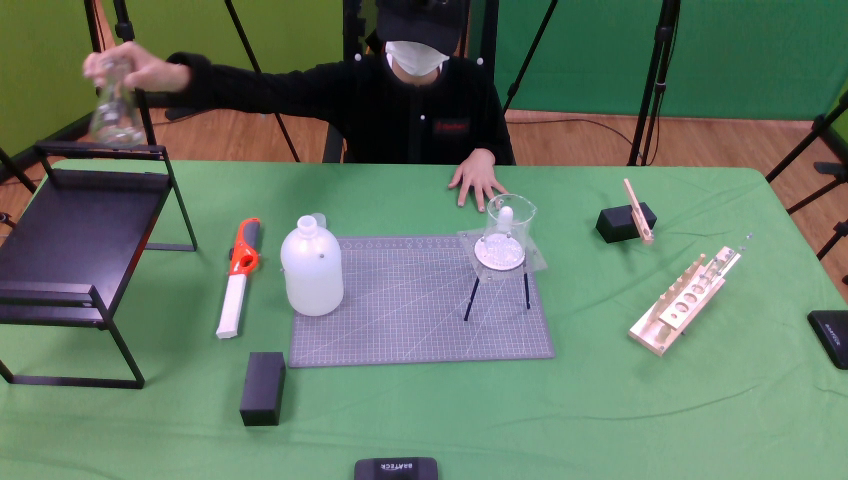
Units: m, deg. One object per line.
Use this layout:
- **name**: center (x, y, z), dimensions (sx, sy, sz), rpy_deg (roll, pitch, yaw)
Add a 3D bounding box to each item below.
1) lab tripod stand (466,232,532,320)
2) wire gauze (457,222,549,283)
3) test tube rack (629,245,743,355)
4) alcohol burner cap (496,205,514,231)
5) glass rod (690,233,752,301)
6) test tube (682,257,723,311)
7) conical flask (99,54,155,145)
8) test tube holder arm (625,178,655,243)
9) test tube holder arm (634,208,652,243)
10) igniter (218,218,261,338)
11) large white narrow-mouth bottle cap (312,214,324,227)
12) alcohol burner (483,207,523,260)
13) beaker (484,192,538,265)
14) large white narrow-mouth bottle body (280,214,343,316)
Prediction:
- **lab tripod stand**: center (0.125, 0.059, 1.065), dimensions (0.148, 0.132, 0.147), rpy_deg (1, 45, 0)
- **wire gauze**: center (0.131, 0.016, 1.017), dimensions (0.121, 0.011, 0.124), rpy_deg (-10, 44, -16)
- **test tube rack**: center (0.474, 0.095, 1.091), dimensions (0.242, 0.085, 0.066), rpy_deg (-34, 56, -31)
- **alcohol burner cap**: center (0.153, -0.044, 1.131), dimensions (0.034, 0.048, 0.033), rpy_deg (2, 40, -1)
- **glass rod**: center (0.507, 0.053, 1.041), dimensions (0.008, 0.200, 0.008), rpy_deg (5, 50, -6)
- **test tube**: center (0.475, 0.080, 1.037), dimensions (0.017, 0.151, 0.017), rpy_deg (1, 51, -1)
- **conical flask**: center (-0.437, -0.207, 0.889), dimensions (0.075, 0.122, 0.075), rpy_deg (10, 29, -6)
- **test tube holder arm**: center (0.433, -0.062, 1.220), dimensions (0.013, 0.015, 0.177), rpy_deg (2, 47, -4)
- **test tube holder arm**: center (0.428, -0.030, 1.189), dimensions (0.010, 0.015, 0.087), rpy_deg (2, 47, -3)
- **igniter**: center (-0.336, 0.060, 1.111), dimensions (0.057, 0.025, 0.274), rpy_deg (-8, 46, 4)
- **large white narrow-mouth bottle cap**: center (-0.219, -0.033, 1.214), dimensions (0.038, 0.024, 0.037), rpy_deg (2, 46, -2)
- **alcohol burner**: center (0.152, -0.018, 1.156), dimensions (0.078, 0.120, 0.077), rpy_deg (0, 47, 0)
- **beaker**: center (0.137, -0.016, 0.980), dimensions (0.084, 0.101, 0.073), rpy_deg (-6, 45, -9)
- **large white narrow-mouth bottle body**: center (-0.190, 0.035, 1.025), dimensions (0.102, 0.195, 0.101), rpy_deg (2, 46, -2)
